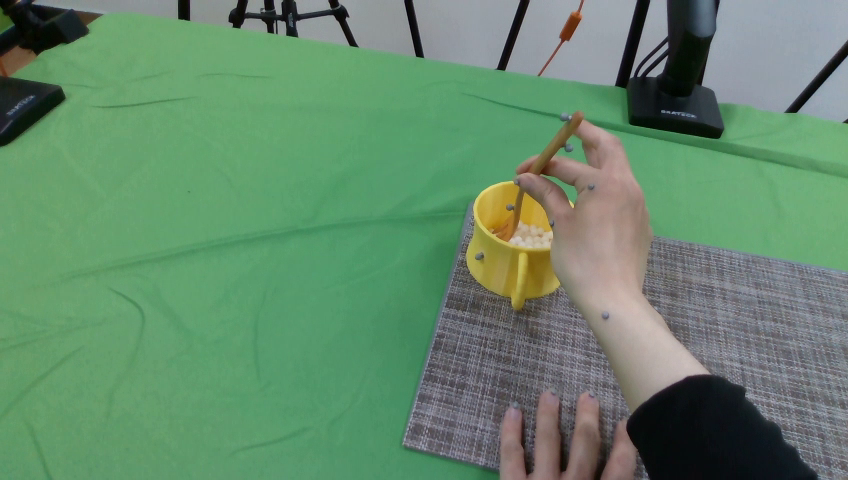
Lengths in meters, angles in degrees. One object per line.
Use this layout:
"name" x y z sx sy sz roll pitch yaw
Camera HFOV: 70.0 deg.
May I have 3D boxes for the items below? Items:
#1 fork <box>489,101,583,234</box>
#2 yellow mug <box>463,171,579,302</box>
"fork" 0.086 -0.050 0.505 0.018 0.208 0.028 15 64 -2
"yellow mug" 0.089 0.001 0.567 0.100 0.064 0.129 7 45 2
